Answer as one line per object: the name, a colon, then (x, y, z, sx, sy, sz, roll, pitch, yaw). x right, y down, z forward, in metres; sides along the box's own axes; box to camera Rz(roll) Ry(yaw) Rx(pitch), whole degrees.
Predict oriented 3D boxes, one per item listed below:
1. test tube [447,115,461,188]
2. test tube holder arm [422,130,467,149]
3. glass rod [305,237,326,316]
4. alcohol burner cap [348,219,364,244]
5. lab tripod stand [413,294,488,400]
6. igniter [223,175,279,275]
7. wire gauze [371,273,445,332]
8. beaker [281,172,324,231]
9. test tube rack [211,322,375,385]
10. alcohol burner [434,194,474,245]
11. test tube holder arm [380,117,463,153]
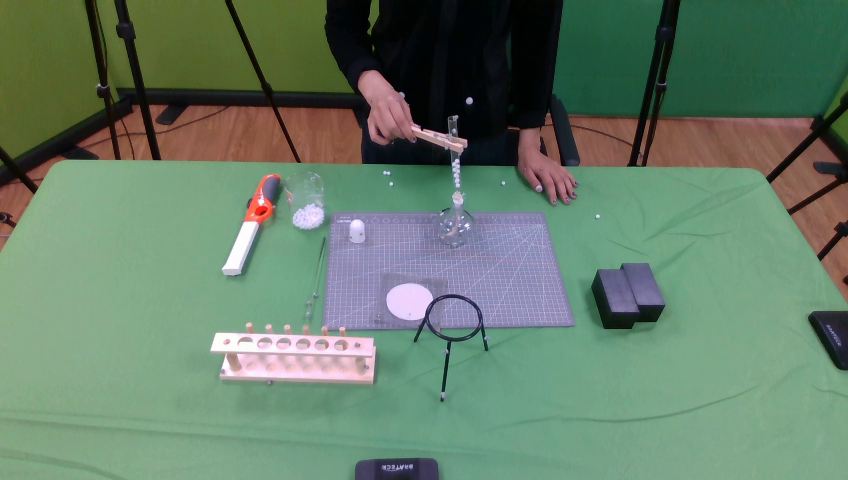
test tube: (0.053, -0.153, 1.073, 0.017, 0.151, 0.017, -4, 43, 4)
test tube holder arm: (0.034, -0.178, 1.070, 0.087, 0.015, 0.010, 17, 43, 20)
glass rod: (-0.202, 0.063, 1.131, 0.008, 0.008, 0.198, 4, 44, 0)
alcohol burner cap: (-0.134, -0.019, 1.190, 0.034, 0.048, 0.033, 2, 45, -2)
lab tripod stand: (0.044, 0.159, 0.972, 0.148, 0.132, 0.147, 2, 44, -2)
igniter: (-0.341, -0.039, 1.206, 0.057, 0.025, 0.275, -1, 45, 8)
wire gauze: (-0.028, 0.108, 1.100, 0.125, 0.011, 0.121, 8, 45, 4)
beaker: (-0.234, -0.073, 1.199, 0.084, 0.101, 0.074, 24, 50, 17)
test tube rack: (-0.202, 0.176, 0.969, 0.242, 0.085, 0.066, 3, 46, -2)
alcohol burner: (0.061, -0.046, 1.183, 0.078, 0.119, 0.077, 3, 47, -3)
test tube holder arm: (-0.008, -0.190, 1.084, 0.178, 0.015, 0.013, 22, 44, 25)
